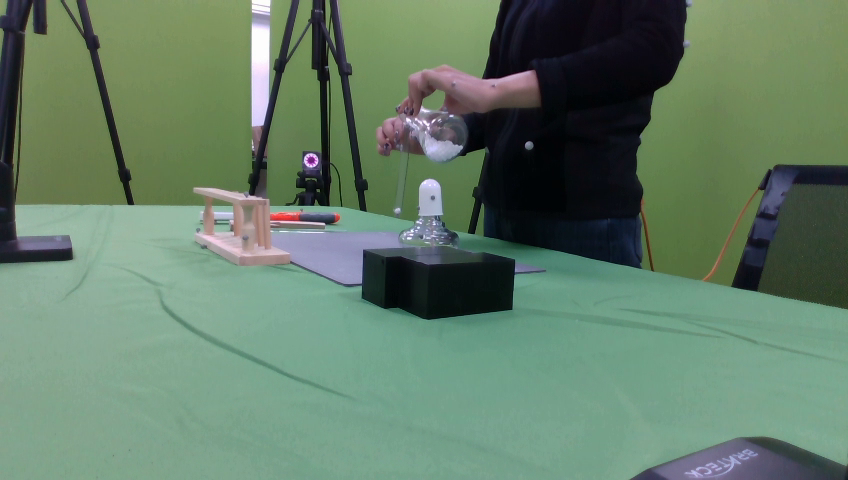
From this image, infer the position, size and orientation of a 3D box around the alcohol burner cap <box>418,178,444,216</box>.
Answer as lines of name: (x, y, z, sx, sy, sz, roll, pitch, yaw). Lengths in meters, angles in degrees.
alcohol burner cap: (0.007, -0.053, 0.745, 0.034, 0.048, 0.034, -3, 6, 1)

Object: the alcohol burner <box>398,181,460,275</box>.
alcohol burner: (0.007, -0.017, 0.751, 0.078, 0.119, 0.078, 3, 10, 0)

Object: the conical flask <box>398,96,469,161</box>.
conical flask: (0.006, -0.172, 0.886, 0.076, 0.075, 0.121, -3, 33, -34)

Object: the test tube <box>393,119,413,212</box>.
test tube: (-0.034, -0.116, 0.959, 0.017, 0.150, 0.017, 7, 19, -2)

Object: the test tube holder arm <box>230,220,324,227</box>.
test tube holder arm: (-0.275, -0.030, 1.145, 0.179, 0.015, 0.013, -2, 45, -31)

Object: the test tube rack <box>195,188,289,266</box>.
test tube rack: (-0.266, -0.025, 0.864, 0.067, 0.085, 0.241, -2, 9, -33)

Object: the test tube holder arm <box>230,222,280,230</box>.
test tube holder arm: (-0.312, -0.025, 1.118, 0.088, 0.015, 0.010, -1, 44, -30)

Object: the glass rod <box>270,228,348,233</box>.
glass rod: (-0.234, -0.017, 1.105, 0.201, 0.008, 0.008, 1, 7, -26)

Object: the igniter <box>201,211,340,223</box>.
igniter: (-0.311, -0.048, 1.243, 0.278, 0.025, 0.057, -1, -2, -24)
